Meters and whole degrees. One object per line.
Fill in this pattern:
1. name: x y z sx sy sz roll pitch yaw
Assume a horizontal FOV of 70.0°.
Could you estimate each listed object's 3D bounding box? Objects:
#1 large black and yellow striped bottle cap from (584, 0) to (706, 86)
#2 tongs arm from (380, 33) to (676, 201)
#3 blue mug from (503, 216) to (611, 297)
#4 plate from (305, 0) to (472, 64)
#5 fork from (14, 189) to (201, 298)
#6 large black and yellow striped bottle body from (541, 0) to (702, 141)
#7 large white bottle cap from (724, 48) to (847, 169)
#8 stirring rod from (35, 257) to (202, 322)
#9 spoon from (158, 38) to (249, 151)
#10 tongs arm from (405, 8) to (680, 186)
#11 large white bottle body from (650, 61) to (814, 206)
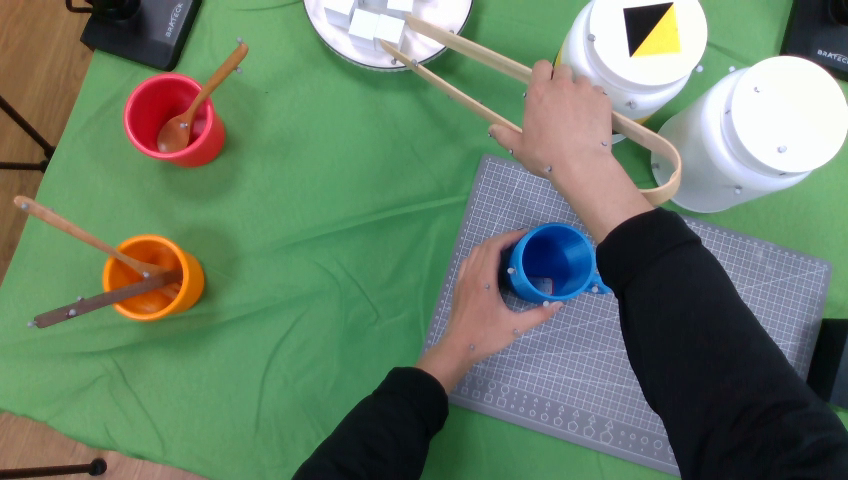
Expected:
1. large black and yellow striped bottle cap: 0.212 -0.207 0.582 0.115 0.019 0.114 0 85 -3
2. tongs arm: 0.084 -0.144 0.624 0.051 0.027 0.381 -43 57 -5
3. blue mug: 0.152 0.028 0.677 0.116 0.106 0.082 23 83 1
4. plate: -0.042 -0.312 0.742 0.208 0.039 0.207 0 84 -2
5. fork: -0.328 0.007 0.644 0.028 0.018 0.209 -55 131 -7
6. large black and yellow striped bottle body: 0.210 -0.195 0.665 0.131 0.184 0.130 0 83 -2
7. large white bottle cap: 0.345 -0.125 0.577 0.115 0.018 0.114 0 84 -3
8. stirring rod: -0.318 0.050 0.646 0.176 0.006 0.014 -24 87 -46
9. spoon: -0.245 -0.157 0.666 0.193 0.022 0.041 -33 80 39
10. tongs arm: 0.104 -0.165 0.627 0.028 0.028 0.383 -44 57 -10
11. large white bottle body: 0.343 -0.115 0.661 0.131 0.185 0.130 0 84 -1
